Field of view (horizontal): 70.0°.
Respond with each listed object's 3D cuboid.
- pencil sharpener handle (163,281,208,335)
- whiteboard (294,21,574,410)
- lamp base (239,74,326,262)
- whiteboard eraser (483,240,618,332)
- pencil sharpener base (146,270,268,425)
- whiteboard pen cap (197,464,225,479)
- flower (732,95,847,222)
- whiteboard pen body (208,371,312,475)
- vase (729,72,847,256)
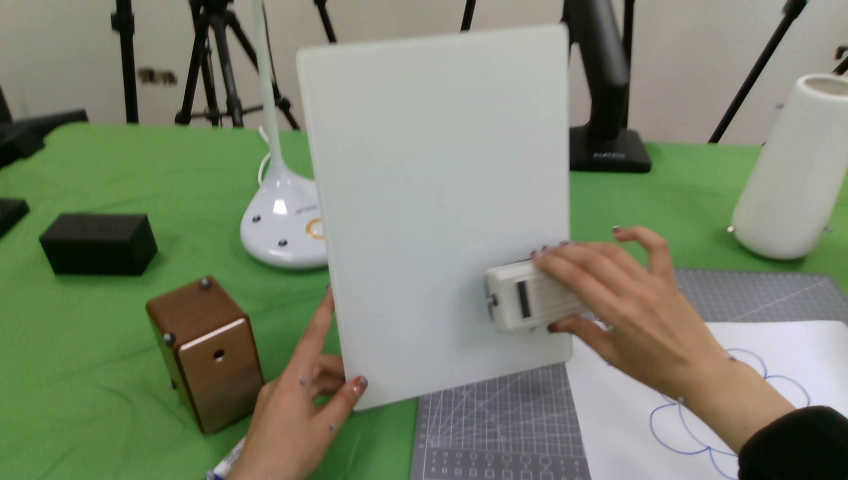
[{"bbox_3d":[-0.215,0.057,0.545,0.036,0.068,0.030,-32,46,-24],"label":"pencil sharpener handle"},{"bbox_3d":[0.008,-0.032,0.570,0.218,0.307,0.142,-10,19,-12],"label":"whiteboard"},{"bbox_3d":[-0.153,-0.091,0.704,0.161,0.182,0.177,-30,44,-34],"label":"lamp base"},{"bbox_3d":[0.106,0.038,0.513,0.113,0.055,0.041,-13,4,-16],"label":"whiteboard eraser"},{"bbox_3d":[-0.185,0.091,0.520,0.061,0.108,0.076,-26,43,-30],"label":"pencil sharpener base"},{"bbox_3d":[-0.165,0.185,0.454,0.018,0.018,0.033,18,35,22],"label":"whiteboard pen cap"},{"bbox_3d":[0.428,-0.137,0.617,0.044,0.364,0.038,-12,56,-26],"label":"flower"},{"bbox_3d":[-0.140,0.156,0.501,0.017,0.017,0.140,17,36,22],"label":"whiteboard pen body"},{"bbox_3d":[0.419,-0.080,0.678,0.098,0.201,0.097,1,37,0],"label":"vase"}]
